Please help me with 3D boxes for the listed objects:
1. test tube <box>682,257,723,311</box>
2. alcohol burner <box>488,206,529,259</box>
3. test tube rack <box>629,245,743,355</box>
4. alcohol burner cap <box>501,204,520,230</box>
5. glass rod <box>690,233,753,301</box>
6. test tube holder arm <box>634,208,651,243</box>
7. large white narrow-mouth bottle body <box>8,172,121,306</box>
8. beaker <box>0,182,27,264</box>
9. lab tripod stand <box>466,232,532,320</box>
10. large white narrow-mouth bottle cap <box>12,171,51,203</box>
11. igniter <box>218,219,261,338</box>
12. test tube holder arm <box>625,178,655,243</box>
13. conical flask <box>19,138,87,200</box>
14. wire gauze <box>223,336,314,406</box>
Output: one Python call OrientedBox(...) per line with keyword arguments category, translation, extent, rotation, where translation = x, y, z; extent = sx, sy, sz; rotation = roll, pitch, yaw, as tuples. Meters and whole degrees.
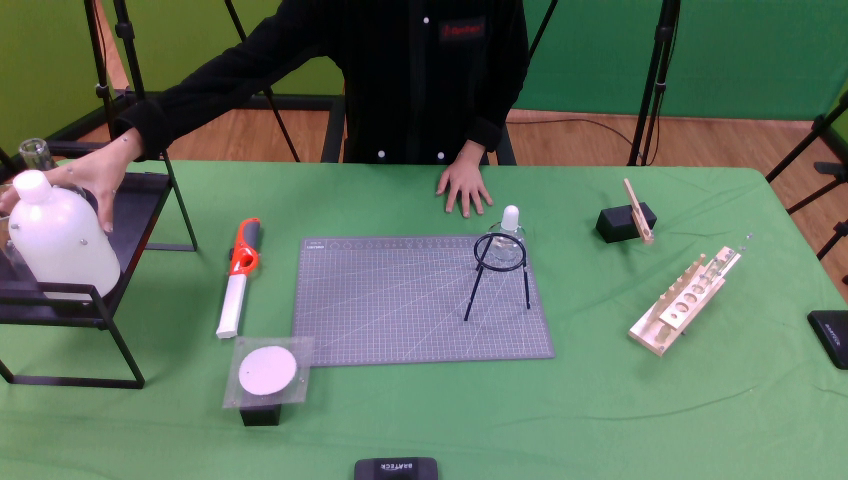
OrientedBox(category="test tube", translation=(0.474, 0.080, 1.037), extent=(0.017, 0.151, 0.017), rotation=(1, 51, -1))
OrientedBox(category="alcohol burner", translation=(0.163, -0.020, 1.158), extent=(0.078, 0.120, 0.077), rotation=(0, 47, 0))
OrientedBox(category="test tube rack", translation=(0.474, 0.095, 1.091), extent=(0.242, 0.085, 0.066), rotation=(-34, 56, -31))
OrientedBox(category="alcohol burner cap", translation=(0.164, -0.046, 1.133), extent=(0.034, 0.048, 0.033), rotation=(2, 40, -2))
OrientedBox(category="glass rod", translation=(0.507, 0.053, 1.041), extent=(0.008, 0.200, 0.008), rotation=(5, 51, -6))
OrientedBox(category="test tube holder arm", translation=(0.428, -0.030, 1.189), extent=(0.010, 0.015, 0.087), rotation=(2, 47, -2))
OrientedBox(category="large white narrow-mouth bottle body", translation=(-0.480, -0.007, 0.798), extent=(0.102, 0.195, 0.101), rotation=(2, 46, -2))
OrientedBox(category="beaker", translation=(-0.582, -0.019, 0.870), extent=(0.074, 0.101, 0.083), rotation=(5, 46, 1))
OrientedBox(category="lab tripod stand", translation=(0.125, 0.059, 1.065), extent=(0.148, 0.132, 0.147), rotation=(1, 45, 0))
OrientedBox(category="large white narrow-mouth bottle cap", translation=(-0.477, -0.065, 0.737), extent=(0.038, 0.024, 0.037), rotation=(2, 46, -2))
OrientedBox(category="igniter", translation=(-0.336, 0.060, 1.111), extent=(0.057, 0.025, 0.274), rotation=(-8, 46, 4))
OrientedBox(category="test tube holder arm", translation=(0.433, -0.062, 1.220), extent=(0.013, 0.015, 0.177), rotation=(1, 47, -3))
OrientedBox(category="conical flask", translation=(-0.576, -0.097, 0.930), extent=(0.075, 0.122, 0.075), rotation=(2, 46, -2))
OrientedBox(category="wire gauze", translation=(-0.237, 0.197, 0.931), extent=(0.121, 0.011, 0.124), rotation=(1, 45, -4))
